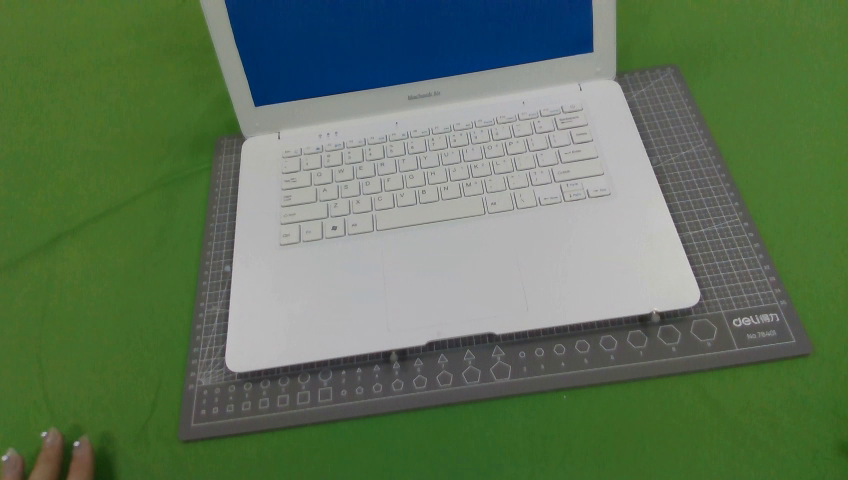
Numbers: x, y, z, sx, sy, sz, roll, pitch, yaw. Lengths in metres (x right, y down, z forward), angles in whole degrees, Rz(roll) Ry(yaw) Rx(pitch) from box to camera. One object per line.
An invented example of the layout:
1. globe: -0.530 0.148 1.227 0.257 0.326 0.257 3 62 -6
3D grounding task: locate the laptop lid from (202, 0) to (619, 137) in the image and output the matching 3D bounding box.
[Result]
1. laptop lid: -0.012 -0.219 0.512 0.357 0.244 0.013 -10 29 3

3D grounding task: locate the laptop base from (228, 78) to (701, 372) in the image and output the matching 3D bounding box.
1. laptop base: 0.017 -0.022 0.506 0.354 0.023 0.233 -9 60 3
